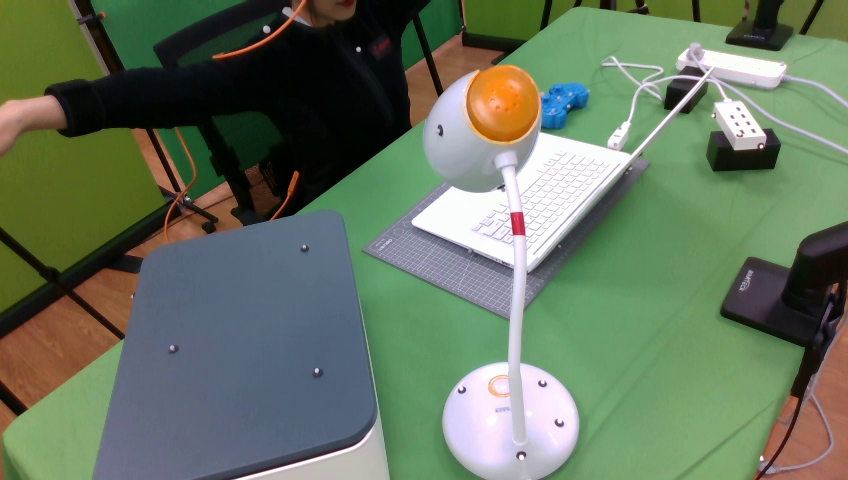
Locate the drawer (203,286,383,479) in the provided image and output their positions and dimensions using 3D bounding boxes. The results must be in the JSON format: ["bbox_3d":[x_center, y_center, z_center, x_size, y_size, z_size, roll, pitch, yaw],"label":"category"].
[{"bbox_3d":[-0.170,0.174,0.761,0.195,0.073,0.210,-15,42,-9],"label":"drawer"}]

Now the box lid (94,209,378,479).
[{"bbox_3d":[-0.202,0.094,0.680,0.264,0.015,0.368,-13,39,-5],"label":"box lid"}]

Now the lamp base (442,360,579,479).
[{"bbox_3d":[0.094,0.158,0.657,0.161,0.181,0.178,-14,42,-5],"label":"lamp base"}]

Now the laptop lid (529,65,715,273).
[{"bbox_3d":[0.294,-0.104,0.895,0.013,0.241,0.358,42,56,10],"label":"laptop lid"}]

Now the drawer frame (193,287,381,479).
[{"bbox_3d":[-0.172,0.176,0.755,0.202,0.083,0.212,-14,42,-7],"label":"drawer frame"}]

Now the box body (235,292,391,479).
[{"bbox_3d":[-0.190,0.161,0.723,0.255,0.161,0.361,-13,40,-5],"label":"box body"}]

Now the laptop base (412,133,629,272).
[{"bbox_3d":[0.176,-0.084,1.055,0.233,0.023,0.355,21,48,36],"label":"laptop base"}]

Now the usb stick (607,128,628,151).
[{"bbox_3d":[0.353,-0.178,1.110,0.021,0.027,0.059,21,57,30],"label":"usb stick"}]

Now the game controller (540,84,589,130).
[{"bbox_3d":[0.273,-0.282,1.251,0.096,0.052,0.155,26,52,30],"label":"game controller"}]

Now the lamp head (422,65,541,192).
[{"bbox_3d":[0.060,-0.106,0.560,0.113,0.112,0.122,-16,0,-8],"label":"lamp head"}]

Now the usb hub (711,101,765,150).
[{"bbox_3d":[0.537,-0.198,1.038,0.049,0.025,0.124,-4,39,8],"label":"usb hub"}]

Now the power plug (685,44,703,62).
[{"bbox_3d":[0.568,-0.390,1.294,0.073,0.053,0.035,-33,46,-22],"label":"power plug"}]

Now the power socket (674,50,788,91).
[{"bbox_3d":[0.646,-0.363,1.284,0.225,0.033,0.072,25,52,34],"label":"power socket"}]
